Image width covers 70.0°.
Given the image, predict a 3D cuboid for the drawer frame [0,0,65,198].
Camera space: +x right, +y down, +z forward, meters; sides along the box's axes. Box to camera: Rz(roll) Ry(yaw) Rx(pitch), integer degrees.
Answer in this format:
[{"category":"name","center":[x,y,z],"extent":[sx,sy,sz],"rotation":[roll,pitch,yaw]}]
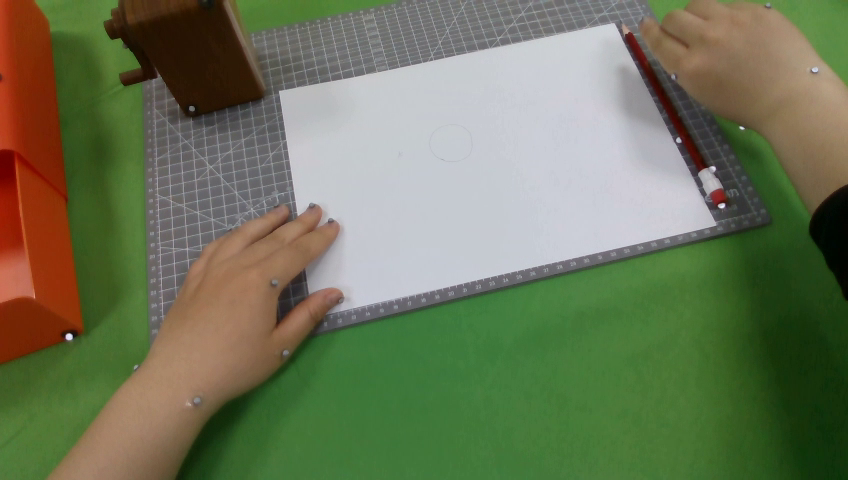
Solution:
[{"category":"drawer frame","center":[-0.406,-0.098,0.473],"extent":[0.202,0.083,0.211],"rotation":[-20,63,-7]}]

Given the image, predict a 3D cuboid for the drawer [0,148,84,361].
[{"category":"drawer","center":[-0.363,-0.001,0.424],"extent":[0.194,0.074,0.209],"rotation":[-21,63,-7]}]

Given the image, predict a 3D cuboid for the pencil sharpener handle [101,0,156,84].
[{"category":"pencil sharpener handle","center":[-0.230,-0.147,0.459],"extent":[0.031,0.068,0.035],"rotation":[-18,60,-5]}]

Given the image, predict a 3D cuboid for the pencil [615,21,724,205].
[{"category":"pencil","center":[0.191,-0.109,0.485],"extent":[0.012,0.012,0.192],"rotation":[-14,62,-4]}]

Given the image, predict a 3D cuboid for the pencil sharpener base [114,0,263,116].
[{"category":"pencil sharpener base","center":[-0.181,-0.158,0.475],"extent":[0.077,0.108,0.061],"rotation":[-18,63,-6]}]
